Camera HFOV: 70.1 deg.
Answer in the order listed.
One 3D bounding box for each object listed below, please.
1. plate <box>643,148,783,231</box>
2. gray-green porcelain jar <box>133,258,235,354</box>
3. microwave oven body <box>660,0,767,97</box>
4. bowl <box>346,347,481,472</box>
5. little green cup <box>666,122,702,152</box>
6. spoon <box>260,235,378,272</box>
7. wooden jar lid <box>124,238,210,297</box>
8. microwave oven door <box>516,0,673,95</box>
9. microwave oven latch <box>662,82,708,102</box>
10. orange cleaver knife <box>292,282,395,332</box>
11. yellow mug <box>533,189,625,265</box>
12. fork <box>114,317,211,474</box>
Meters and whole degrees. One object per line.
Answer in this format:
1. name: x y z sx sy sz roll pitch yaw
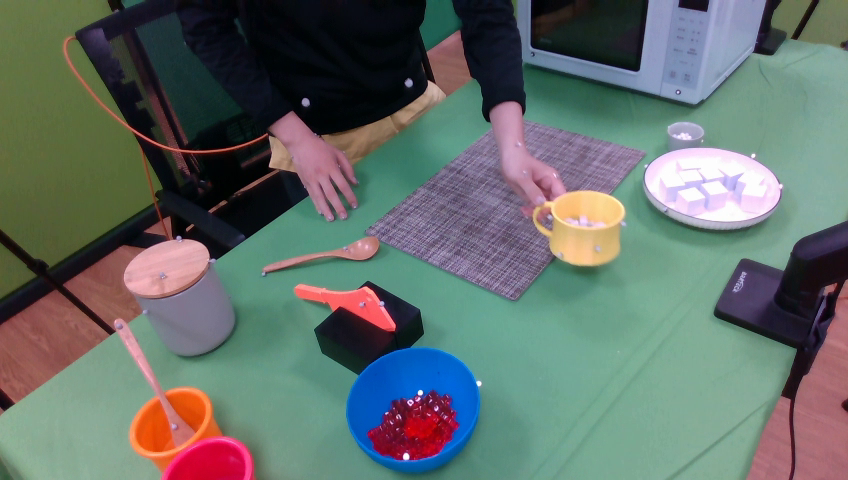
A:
1. plate: 0.464 -0.080 0.986 0.207 0.039 0.206 -4 41 4
2. gray-green porcelain jar: -0.328 0.086 0.836 0.106 0.127 0.105 -4 41 4
3. microwave oven body: 0.473 -0.517 1.314 0.438 0.261 0.327 26 51 34
4. bowl: -0.008 0.205 0.691 0.151 0.077 0.150 -4 40 4
5. little green cup: 0.471 -0.184 1.102 0.061 0.039 0.061 -5 41 5
6. spoon: -0.167 0.024 0.966 0.194 0.022 0.041 -10 57 -3
7. wooden jar lid: -0.335 0.038 0.794 0.108 0.021 0.108 -2 40 2
8. microwave oven door: 0.344 -0.458 1.256 0.353 0.245 0.039 26 51 33
9. microwave oven latch: 0.517 -0.298 1.202 0.078 0.029 0.030 27 52 34
10. orange cleaver knife: -0.116 0.091 0.835 0.209 0.077 0.012 2 32 48
11. yellow mug: 0.218 -0.023 0.868 0.130 0.064 0.100 15 41 27
12. fork: -0.309 0.179 0.708 0.028 0.018 0.207 -30 89 -25
